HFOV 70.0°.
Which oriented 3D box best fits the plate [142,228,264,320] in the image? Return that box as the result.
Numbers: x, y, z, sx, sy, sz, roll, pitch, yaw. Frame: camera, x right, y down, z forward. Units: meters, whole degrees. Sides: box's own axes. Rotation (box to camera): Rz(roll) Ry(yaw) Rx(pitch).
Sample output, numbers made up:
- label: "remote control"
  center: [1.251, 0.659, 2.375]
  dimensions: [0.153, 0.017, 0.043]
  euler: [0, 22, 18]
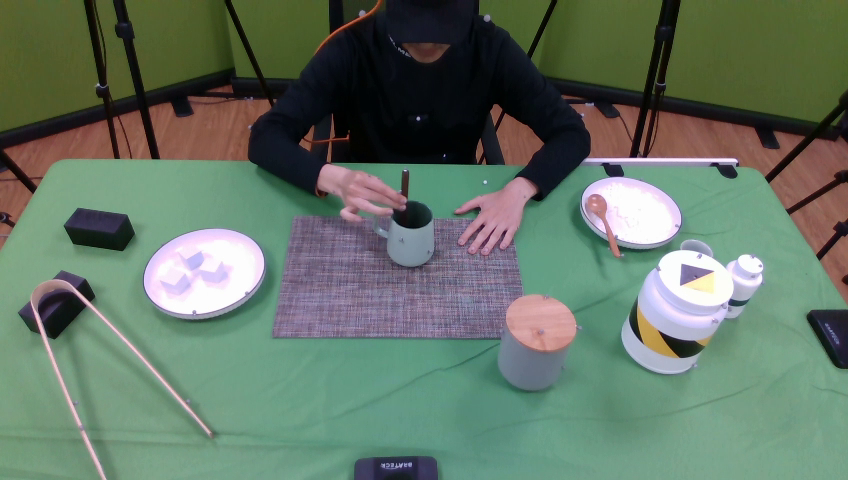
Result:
- label: "plate"
  center: [-0.394, 0.064, 1.095]
  dimensions: [0.208, 0.039, 0.206]
  euler: [2, 46, -2]

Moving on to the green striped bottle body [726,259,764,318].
- label: "green striped bottle body"
  center: [0.563, 0.081, 1.089]
  dimensions: [0.063, 0.120, 0.063]
  euler: [2, 46, -2]

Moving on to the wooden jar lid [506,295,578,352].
- label: "wooden jar lid"
  center: [0.179, 0.130, 0.925]
  dimensions: [0.108, 0.021, 0.107]
  euler: [2, 43, -2]

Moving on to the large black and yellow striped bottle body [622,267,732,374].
- label: "large black and yellow striped bottle body"
  center: [0.415, 0.119, 0.997]
  dimensions: [0.131, 0.185, 0.130]
  euler: [2, 46, -2]

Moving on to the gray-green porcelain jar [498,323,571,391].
- label: "gray-green porcelain jar"
  center: [0.176, 0.172, 0.971]
  dimensions: [0.106, 0.127, 0.105]
  euler: [2, 46, -2]

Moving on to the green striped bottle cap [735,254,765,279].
- label: "green striped bottle cap"
  center: [0.566, 0.046, 1.051]
  dimensions: [0.044, 0.020, 0.044]
  euler: [0, 45, 0]

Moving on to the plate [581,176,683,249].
- label: "plate"
  center: [0.430, -0.054, 1.267]
  dimensions: [0.209, 0.038, 0.208]
  euler: [2, 46, -2]

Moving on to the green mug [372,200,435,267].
- label: "green mug"
  center: [-0.040, -0.015, 1.146]
  dimensions: [0.125, 0.105, 0.092]
  euler: [17, 48, 13]

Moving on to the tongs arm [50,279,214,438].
- label: "tongs arm"
  center: [-0.459, 0.178, 0.949]
  dimensions: [0.386, 0.028, 0.028]
  euler: [37, 60, 17]

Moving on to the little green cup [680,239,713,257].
- label: "little green cup"
  center: [0.530, 0.033, 1.189]
  dimensions: [0.061, 0.039, 0.061]
  euler: [2, 48, -2]

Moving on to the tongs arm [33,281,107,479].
- label: "tongs arm"
  center: [-0.517, 0.214, 0.910]
  dimensions: [0.051, 0.026, 0.383]
  euler: [-28, 63, -27]

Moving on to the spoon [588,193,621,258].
- label: "spoon"
  center: [0.367, -0.032, 1.220]
  dimensions: [0.041, 0.022, 0.192]
  euler: [1, 38, -1]

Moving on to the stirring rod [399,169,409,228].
- label: "stirring rod"
  center: [-0.038, -0.062, 1.118]
  dimensions: [0.014, 0.177, 0.006]
  euler: [-3, 46, -7]

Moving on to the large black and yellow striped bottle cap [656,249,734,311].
- label: "large black and yellow striped bottle cap"
  center: [0.419, 0.061, 0.938]
  dimensions: [0.115, 0.019, 0.114]
  euler: [2, 47, -2]
